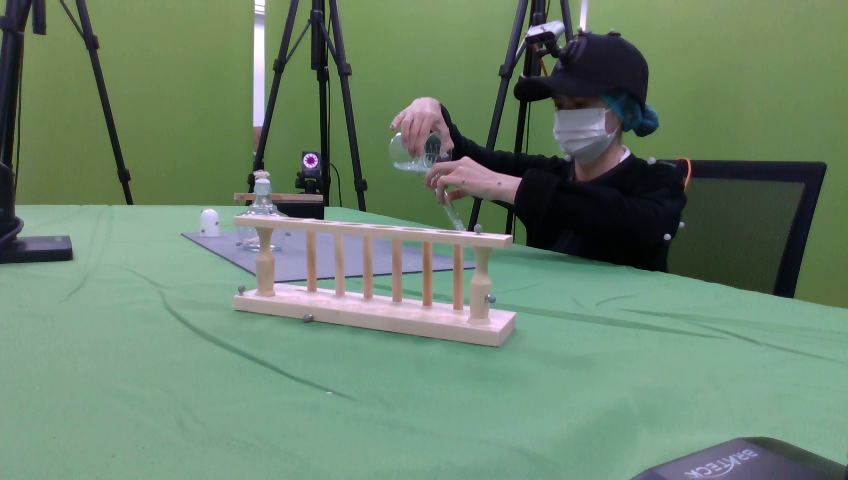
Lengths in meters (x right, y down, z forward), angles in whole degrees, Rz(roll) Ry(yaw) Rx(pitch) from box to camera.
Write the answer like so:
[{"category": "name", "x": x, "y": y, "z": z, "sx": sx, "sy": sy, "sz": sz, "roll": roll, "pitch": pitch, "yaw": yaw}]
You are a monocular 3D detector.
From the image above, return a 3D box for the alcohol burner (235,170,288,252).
[{"category": "alcohol burner", "x": -0.236, "y": -0.042, "z": 0.882, "sx": 0.078, "sy": 0.119, "sz": 0.078, "roll": 2, "pitch": 9, "yaw": 0}]

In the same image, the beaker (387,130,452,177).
[{"category": "beaker", "x": -0.012, "y": -0.157, "z": 1.093, "sx": 0.074, "sy": 0.084, "sz": 0.100, "roll": 11, "pitch": 0, "yaw": -45}]

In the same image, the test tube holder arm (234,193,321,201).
[{"category": "test tube holder arm", "x": -0.299, "y": -0.088, "z": 1.248, "sx": 0.179, "sy": 0.015, "sz": 0.013, "roll": -1, "pitch": 16, "yaw": -30}]

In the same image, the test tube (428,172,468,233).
[{"category": "test tube", "x": 0.039, "y": -0.059, "z": 1.020, "sx": 0.017, "sy": 0.017, "sz": 0.149, "roll": -2, "pitch": 50, "yaw": -32}]

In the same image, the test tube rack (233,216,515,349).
[{"category": "test tube rack", "x": -0.045, "y": 0.029, "z": 0.526, "sx": 0.241, "sy": 0.085, "sz": 0.067, "roll": 5, "pitch": 8, "yaw": 19}]

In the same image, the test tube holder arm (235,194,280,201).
[{"category": "test tube holder arm", "x": -0.336, "y": -0.086, "z": 1.221, "sx": 0.088, "sy": 0.015, "sz": 0.010, "roll": -1, "pitch": 16, "yaw": -29}]

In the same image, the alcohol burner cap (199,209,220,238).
[{"category": "alcohol burner cap", "x": -0.356, "y": -0.027, "z": 1.002, "sx": 0.034, "sy": 0.048, "sz": 0.034, "roll": 2, "pitch": 7, "yaw": 0}]
